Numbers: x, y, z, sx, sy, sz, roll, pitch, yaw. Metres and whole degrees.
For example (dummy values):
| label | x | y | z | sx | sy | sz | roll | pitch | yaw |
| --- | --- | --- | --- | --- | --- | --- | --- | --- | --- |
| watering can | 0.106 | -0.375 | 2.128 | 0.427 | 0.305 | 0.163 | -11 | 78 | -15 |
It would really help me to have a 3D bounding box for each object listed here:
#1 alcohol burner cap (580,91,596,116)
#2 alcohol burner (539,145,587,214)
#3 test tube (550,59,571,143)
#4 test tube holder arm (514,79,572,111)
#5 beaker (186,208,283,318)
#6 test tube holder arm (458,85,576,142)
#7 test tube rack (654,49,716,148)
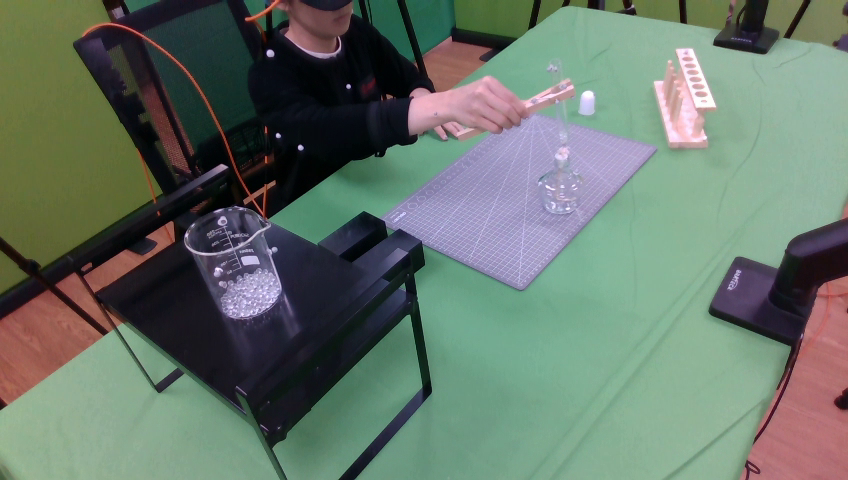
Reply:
| label | x | y | z | sx | sy | sz | roll | pitch | yaw |
| --- | --- | --- | --- | --- | --- | --- | --- | --- | --- |
| alcohol burner cap | 0.338 | -0.283 | 1.238 | 0.034 | 0.048 | 0.033 | -4 | 42 | 4 |
| alcohol burner | 0.226 | -0.102 | 0.985 | 0.078 | 0.119 | 0.077 | -6 | 41 | 6 |
| test tube | 0.200 | -0.198 | 0.882 | 0.017 | 0.151 | 0.017 | -10 | 50 | 13 |
| test tube holder arm | 0.172 | -0.205 | 0.874 | 0.087 | 0.015 | 0.010 | -27 | 44 | 10 |
| beaker | -0.192 | 0.026 | 0.637 | 0.084 | 0.101 | 0.073 | -13 | 41 | -7 |
| test tube holder arm | 0.133 | -0.184 | 0.881 | 0.178 | 0.015 | 0.013 | -21 | 45 | 15 |
| test tube rack | 0.502 | -0.281 | 1.176 | 0.066 | 0.085 | 0.241 | 2 | 41 | 11 |
